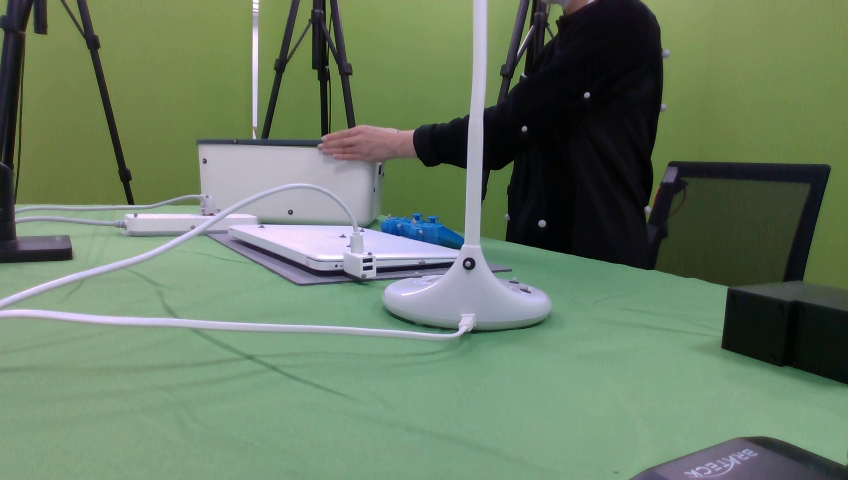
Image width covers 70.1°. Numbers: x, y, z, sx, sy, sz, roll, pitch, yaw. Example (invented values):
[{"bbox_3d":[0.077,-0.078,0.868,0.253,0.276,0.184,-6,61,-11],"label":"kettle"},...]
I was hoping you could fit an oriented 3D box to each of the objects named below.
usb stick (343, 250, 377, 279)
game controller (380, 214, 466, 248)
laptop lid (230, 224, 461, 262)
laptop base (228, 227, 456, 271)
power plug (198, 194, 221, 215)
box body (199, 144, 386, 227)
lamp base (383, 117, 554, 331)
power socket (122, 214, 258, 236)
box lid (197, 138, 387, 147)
[{"bbox_3d":[-0.076,0.026,0.687,0.021,0.027,0.059,-8,9,-31],"label":"usb stick"},{"bbox_3d":[-0.006,-0.017,1.039,0.097,0.051,0.154,-5,10,-34],"label":"game controller"},{"bbox_3d":[-0.120,0.000,0.888,0.243,0.013,0.355,1,7,-33],"label":"laptop lid"},{"bbox_3d":[-0.122,0.011,0.889,0.237,0.023,0.352,2,6,-35],"label":"laptop base"},{"bbox_3d":[-0.387,-0.055,1.089,0.035,0.052,0.072,-1,7,-22],"label":"power plug"},{"bbox_3d":[-0.277,-0.124,1.335,0.364,0.160,0.254,3,7,1],"label":"box body"},{"bbox_3d":[0.045,-0.019,0.547,0.161,0.180,0.179,2,10,-4],"label":"lamp base"},{"bbox_3d":[-0.398,-0.028,1.049,0.228,0.032,0.072,-3,8,-34],"label":"power socket"},{"bbox_3d":[-0.276,-0.210,1.324,0.372,0.015,0.263,1,8,1],"label":"box lid"}]
